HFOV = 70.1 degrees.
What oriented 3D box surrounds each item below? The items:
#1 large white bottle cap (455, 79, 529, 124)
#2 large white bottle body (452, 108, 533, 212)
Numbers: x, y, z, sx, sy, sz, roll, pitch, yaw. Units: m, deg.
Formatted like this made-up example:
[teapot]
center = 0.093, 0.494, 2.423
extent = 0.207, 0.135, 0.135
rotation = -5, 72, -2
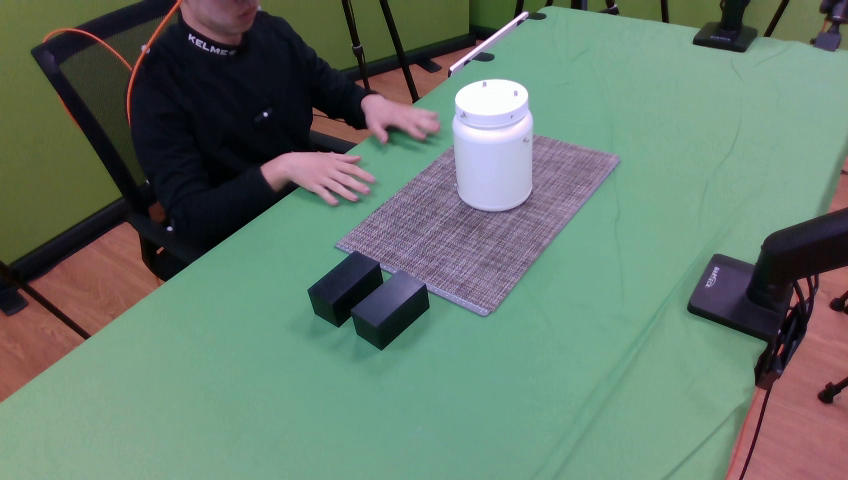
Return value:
[large white bottle cap]
center = 0.106, -0.218, 0.945
extent = 0.115, 0.018, 0.114
rotation = -4, 41, 4
[large white bottle body]
center = 0.114, -0.155, 1.001
extent = 0.130, 0.185, 0.130
rotation = -5, 41, 4
